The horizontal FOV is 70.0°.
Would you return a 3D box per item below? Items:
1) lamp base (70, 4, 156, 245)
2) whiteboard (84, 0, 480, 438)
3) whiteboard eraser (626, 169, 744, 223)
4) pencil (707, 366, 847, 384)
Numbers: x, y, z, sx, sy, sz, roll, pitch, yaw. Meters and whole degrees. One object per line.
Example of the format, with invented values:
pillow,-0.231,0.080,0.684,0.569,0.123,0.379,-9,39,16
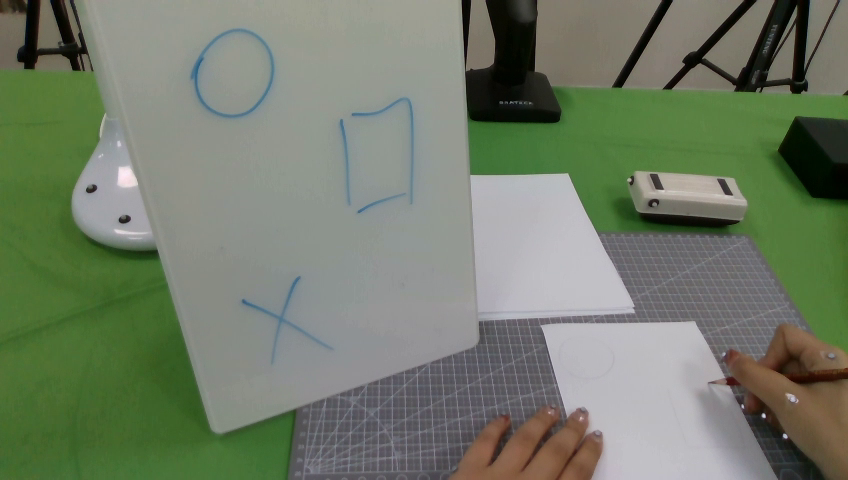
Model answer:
lamp base,-0.271,-0.113,0.564,0.178,0.182,0.160,29,47,27
whiteboard,-0.090,-0.047,0.461,0.218,0.307,0.142,-15,27,-19
whiteboard eraser,0.279,-0.047,0.654,0.113,0.042,0.055,5,43,-1
pencil,0.278,0.091,0.414,0.012,0.194,0.012,9,71,-27
